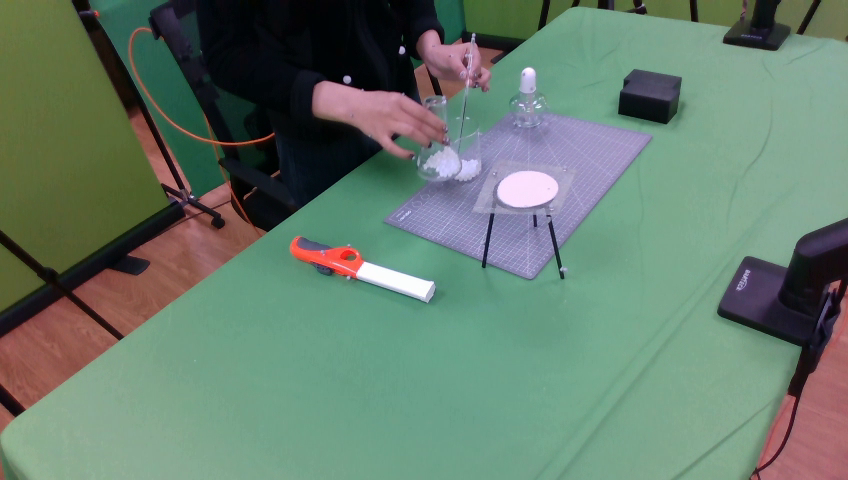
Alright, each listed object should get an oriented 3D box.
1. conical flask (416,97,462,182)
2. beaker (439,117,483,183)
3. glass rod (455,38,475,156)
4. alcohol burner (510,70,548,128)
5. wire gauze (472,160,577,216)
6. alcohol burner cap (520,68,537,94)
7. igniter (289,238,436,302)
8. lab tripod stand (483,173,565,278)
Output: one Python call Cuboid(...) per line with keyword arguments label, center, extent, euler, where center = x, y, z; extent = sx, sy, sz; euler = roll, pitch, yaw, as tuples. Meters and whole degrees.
Cuboid(label="conical flask", center=(0.020, -0.157, 0.936), extent=(0.075, 0.122, 0.075), euler=(-4, 34, 3))
Cuboid(label="beaker", center=(0.068, -0.160, 1.096), extent=(0.073, 0.101, 0.084), euler=(7, 43, 19))
Cuboid(label="glass rod", center=(0.069, -0.245, 1.044), extent=(0.008, 0.200, 0.008), euler=(7, 14, -1))
Cuboid(label="alcohol burner", center=(0.209, -0.287, 1.208), extent=(0.078, 0.119, 0.077), euler=(-5, 42, 5))
Cuboid(label="wire gauze", center=(0.143, -0.073, 0.850), extent=(0.121, 0.011, 0.125), euler=(8, 43, 22))
Cuboid(label="alcohol burner cap", center=(0.205, -0.313, 1.183), extent=(0.034, 0.048, 0.033), euler=(-3, 50, 4))
Cuboid(label="igniter", center=(-0.106, 0.043, 0.949), extent=(0.274, 0.025, 0.057), euler=(16, 57, 27))
Cuboid(label="lab tripod stand", center=(0.151, -0.025, 0.896), extent=(0.148, 0.132, 0.147), euler=(-7, 40, 6))
